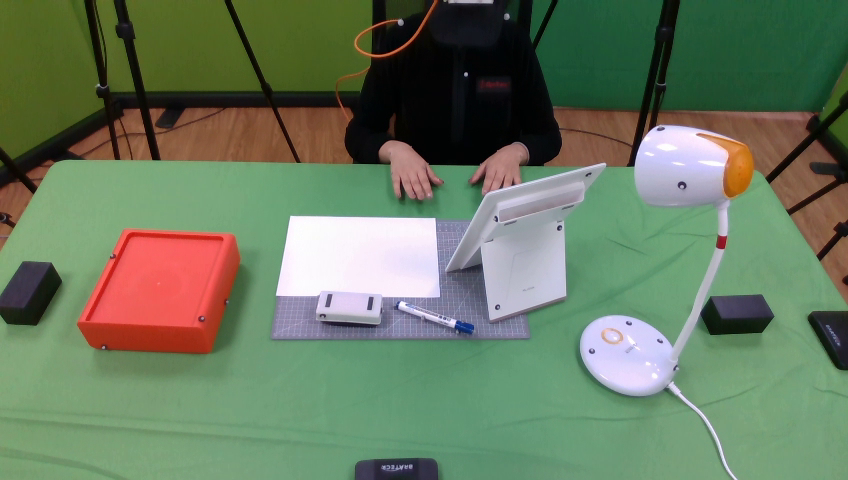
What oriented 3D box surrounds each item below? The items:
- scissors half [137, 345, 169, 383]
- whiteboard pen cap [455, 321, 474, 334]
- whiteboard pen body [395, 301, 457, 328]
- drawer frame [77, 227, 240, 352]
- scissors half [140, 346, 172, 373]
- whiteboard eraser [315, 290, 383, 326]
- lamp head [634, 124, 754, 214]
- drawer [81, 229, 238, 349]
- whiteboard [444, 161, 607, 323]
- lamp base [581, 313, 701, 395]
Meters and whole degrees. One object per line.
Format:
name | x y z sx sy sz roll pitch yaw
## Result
scissors half | -0.479 0.171 0.997 0.175 0.040 0.013 48 47 -3
whiteboard pen cap | 0.069 0.151 1.046 0.033 0.018 0.018 14 47 16
whiteboard pen body | 0.015 0.134 1.064 0.140 0.017 0.017 17 47 16
drawer frame | -0.444 0.081 1.044 0.202 0.083 0.212 3 47 -3
scissors half | -0.475 0.164 0.987 0.175 0.040 0.013 36 53 9
whiteboard eraser | -0.130 0.120 1.054 0.113 0.042 0.055 4 47 0
lamp head | 0.351 -0.089 0.775 0.112 0.113 0.122 -30 30 -28
drawer | -0.445 0.080 1.046 0.194 0.073 0.210 3 47 -2
whiteboard | 0.186 0.025 1.029 0.217 0.306 0.143 -14 68 -18
lamp base | 0.361 0.144 0.972 0.178 0.181 0.160 34 53 23
